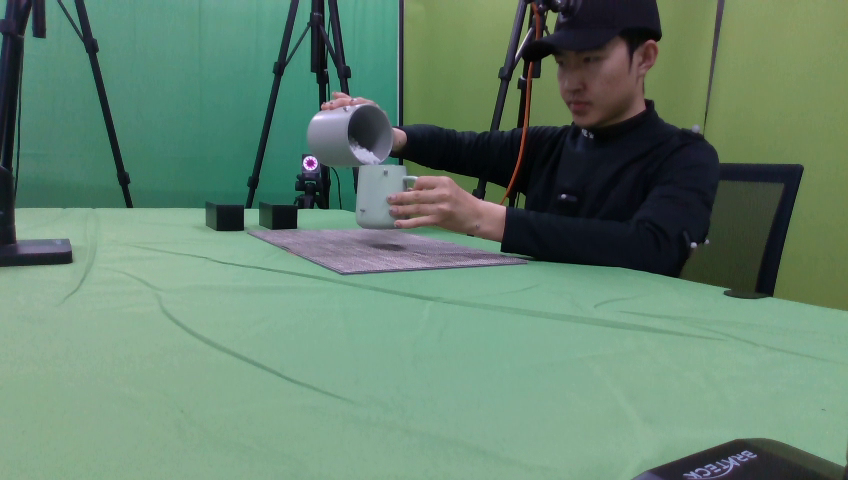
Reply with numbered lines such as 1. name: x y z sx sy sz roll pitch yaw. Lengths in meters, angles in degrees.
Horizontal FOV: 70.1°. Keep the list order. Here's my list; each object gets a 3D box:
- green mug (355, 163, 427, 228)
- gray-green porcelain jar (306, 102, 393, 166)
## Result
1. green mug: -0.053 -0.073 0.998 0.125 0.105 0.093 2 5 23
2. gray-green porcelain jar: -0.135 -0.182 1.058 0.126 0.106 0.106 5 7 44
